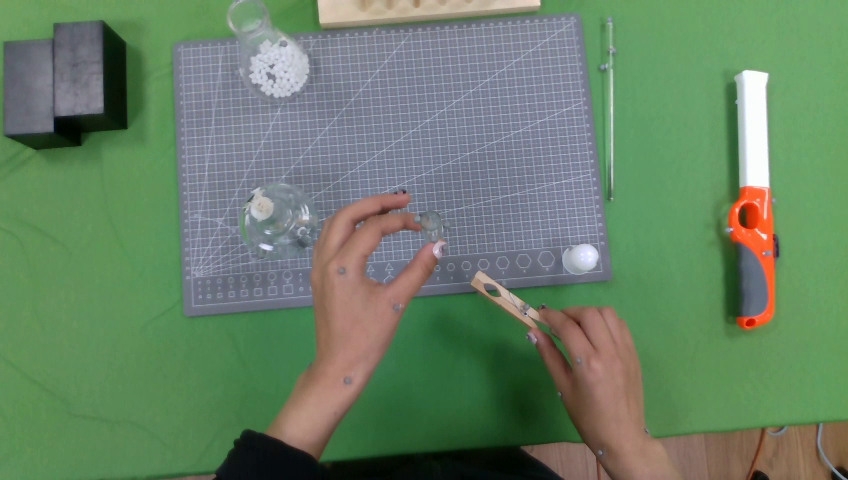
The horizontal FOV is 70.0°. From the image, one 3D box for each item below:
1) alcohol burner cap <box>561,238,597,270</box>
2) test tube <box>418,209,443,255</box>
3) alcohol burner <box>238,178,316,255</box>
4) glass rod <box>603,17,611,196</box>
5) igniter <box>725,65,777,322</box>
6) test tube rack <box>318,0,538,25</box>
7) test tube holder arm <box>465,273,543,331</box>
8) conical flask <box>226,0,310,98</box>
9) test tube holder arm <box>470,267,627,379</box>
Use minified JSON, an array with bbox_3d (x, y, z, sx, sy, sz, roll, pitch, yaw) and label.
[{"bbox_3d":[0.162,0.012,0.625,0.034,0.048,0.034,0,82,0],"label":"alcohol burner cap"},{"bbox_3d":[0.007,-0.004,0.496,0.017,0.150,0.017,0,81,2],"label":"test tube"},{"bbox_3d":[-0.147,-0.026,0.587,0.078,0.119,0.077,0,82,1],"label":"alcohol burner"},{"bbox_3d":[0.200,-0.147,0.663,0.008,0.008,0.199,2,86,-1],"label":"glass rod"},{"bbox_3d":[0.348,-0.051,0.645,0.057,0.025,0.275,4,84,-11],"label":"igniter"},{"bbox_3d":[0.003,-0.287,0.637,0.242,0.085,0.066,-5,84,-2],"label":"test tube rack"},{"bbox_3d":[0.078,0.059,0.578,0.088,0.015,0.010,34,88,-1],"label":"test tube holder arm"},{"bbox_3d":[-0.160,-0.196,0.602,0.075,0.122,0.075,0,83,-1],"label":"conical flask"},{"bbox_3d":[0.119,0.080,0.579,0.178,0.015,0.013,33,88,-1],"label":"test tube holder arm"}]
